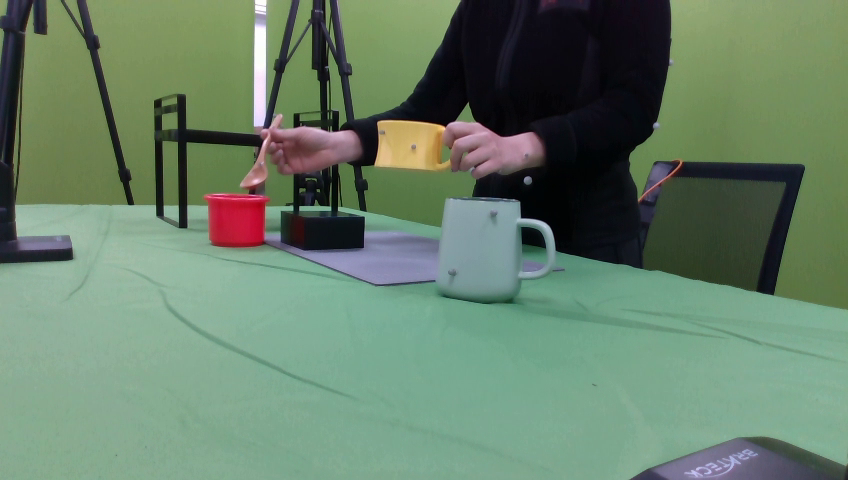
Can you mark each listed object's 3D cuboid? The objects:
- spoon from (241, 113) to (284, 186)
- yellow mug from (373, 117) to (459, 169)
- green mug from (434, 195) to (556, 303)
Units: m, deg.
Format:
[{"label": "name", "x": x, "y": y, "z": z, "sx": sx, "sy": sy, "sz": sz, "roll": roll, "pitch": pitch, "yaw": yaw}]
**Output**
[{"label": "spoon", "x": -0.256, "y": -0.152, "z": 0.988, "sx": 0.041, "sy": 0.022, "sz": 0.193, "roll": -4, "pitch": 49, "yaw": 12}, {"label": "yellow mug", "x": -0.008, "y": -0.136, "z": 0.862, "sx": 0.130, "sy": 0.064, "sz": 0.100, "roll": 8, "pitch": 6, "yaw": 29}, {"label": "green mug", "x": 0.074, "y": 0.009, "z": 0.624, "sx": 0.125, "sy": 0.105, "sz": 0.093, "roll": 5, "pitch": 7, "yaw": 23}]
